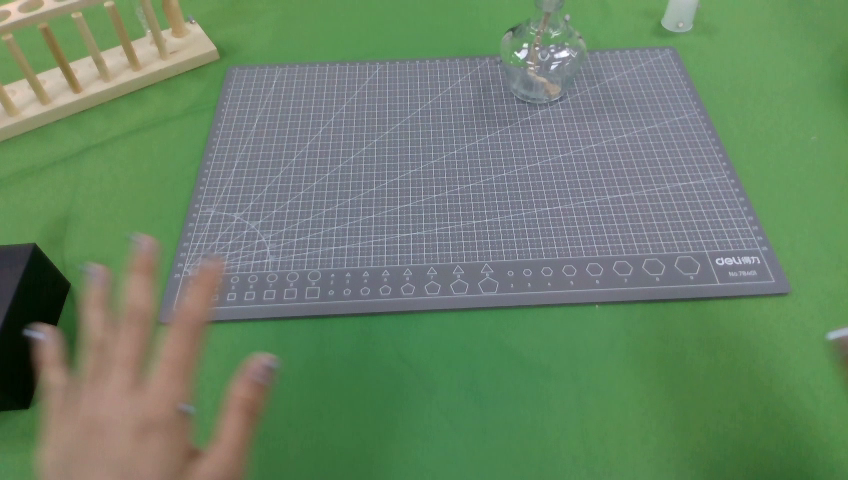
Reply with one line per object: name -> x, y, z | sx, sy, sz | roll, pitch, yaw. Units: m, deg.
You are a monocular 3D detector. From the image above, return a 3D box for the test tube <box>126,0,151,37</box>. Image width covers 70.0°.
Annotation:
test tube -> -0.285, -0.257, 0.561 | 0.017, 0.152, 0.017 | -4, 50, 5

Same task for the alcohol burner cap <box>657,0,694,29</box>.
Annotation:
alcohol burner cap -> 0.263, -0.245, 0.624 | 0.034, 0.048, 0.033 | -2, 52, 2

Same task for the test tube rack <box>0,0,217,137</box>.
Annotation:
test tube rack -> -0.332, -0.182, 0.566 | 0.242, 0.086, 0.066 | -28, 56, -19

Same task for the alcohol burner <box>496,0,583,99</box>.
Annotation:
alcohol burner -> 0.103, -0.186, 0.534 | 0.078, 0.120, 0.077 | 0, 50, 1
